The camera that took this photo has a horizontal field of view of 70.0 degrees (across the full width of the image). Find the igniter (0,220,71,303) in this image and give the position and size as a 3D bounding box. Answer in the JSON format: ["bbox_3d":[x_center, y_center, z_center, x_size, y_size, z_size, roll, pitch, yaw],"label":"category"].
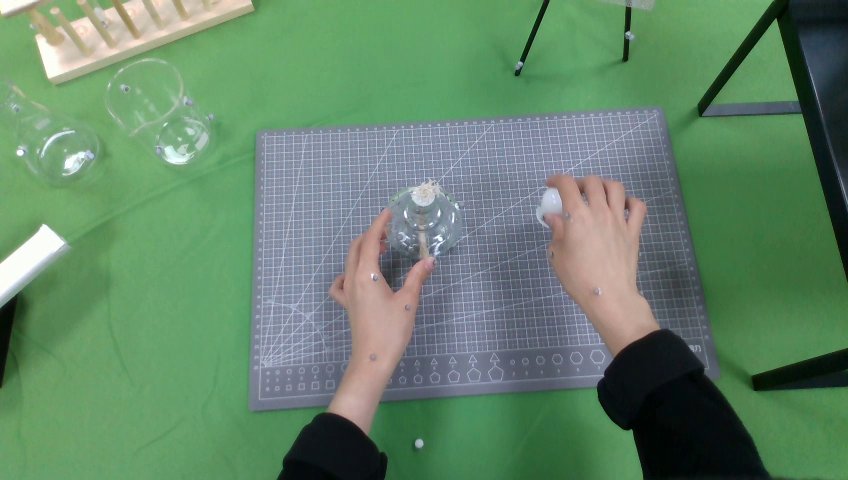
[{"bbox_3d":[-0.438,0.088,0.537,0.057,0.025,0.276,39,73,10],"label":"igniter"}]

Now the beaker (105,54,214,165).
[{"bbox_3d":[-0.265,-0.125,0.619,0.074,0.101,0.083,11,72,5],"label":"beaker"}]

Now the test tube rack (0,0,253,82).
[{"bbox_3d":[-0.326,-0.269,0.674,0.242,0.085,0.066,-24,73,-8],"label":"test tube rack"}]

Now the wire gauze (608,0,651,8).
[{"bbox_3d":[0.169,-0.282,0.581,0.121,0.011,0.124,17,73,4],"label":"wire gauze"}]

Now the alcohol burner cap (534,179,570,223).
[{"bbox_3d":[0.125,-0.040,0.582,0.034,0.048,0.033,-1,67,3],"label":"alcohol burner cap"}]

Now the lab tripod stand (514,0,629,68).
[{"bbox_3d":[0.162,-0.258,0.644,0.148,0.132,0.147,0,70,-1],"label":"lab tripod stand"}]

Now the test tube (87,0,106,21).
[{"bbox_3d":[-0.370,-0.286,0.628,0.017,0.151,0.017,0,64,0],"label":"test tube"}]

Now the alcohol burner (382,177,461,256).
[{"bbox_3d":[-0.002,-0.028,0.576,0.078,0.120,0.077,1,70,-1],"label":"alcohol burner"}]

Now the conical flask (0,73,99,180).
[{"bbox_3d":[-0.391,-0.117,0.604,0.075,0.122,0.075,0,71,1],"label":"conical flask"}]
